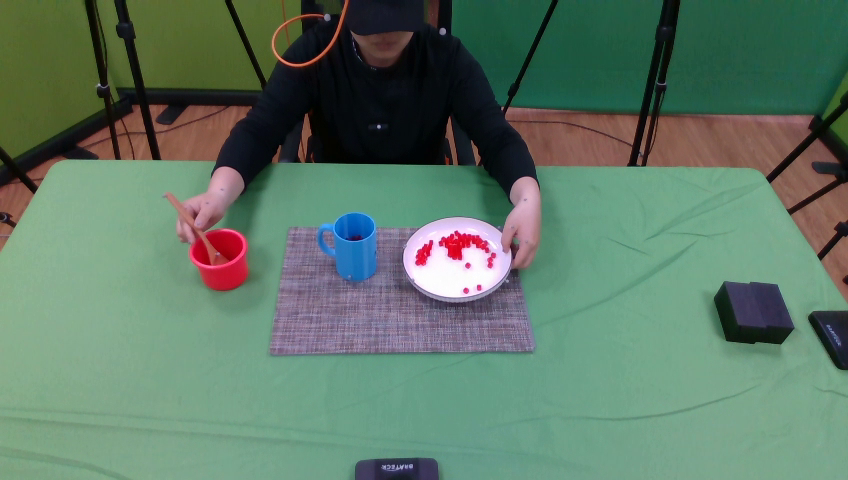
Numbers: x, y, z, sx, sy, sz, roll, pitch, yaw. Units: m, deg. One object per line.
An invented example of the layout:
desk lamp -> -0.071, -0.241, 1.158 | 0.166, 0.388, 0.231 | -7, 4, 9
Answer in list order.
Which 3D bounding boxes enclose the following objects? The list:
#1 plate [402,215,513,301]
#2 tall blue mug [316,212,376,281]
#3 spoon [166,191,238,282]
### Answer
plate -> 0.062, 0.037, 1.141 | 0.208, 0.039, 0.206 | -2, 46, 3
tall blue mug -> -0.142, 0.014, 1.109 | 0.107, 0.108, 0.077 | -5, 47, -8
spoon -> -0.394, -0.006, 1.077 | 0.021, 0.194, 0.041 | -13, 25, 37
